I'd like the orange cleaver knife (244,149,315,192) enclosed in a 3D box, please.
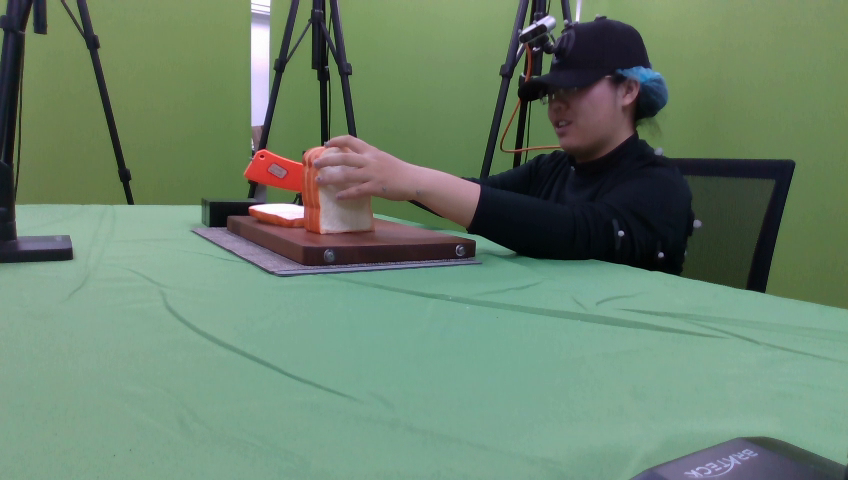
[{"bbox_3d":[-0.238,-0.127,1.176,0.212,0.077,0.012,8,33,-26],"label":"orange cleaver knife"}]

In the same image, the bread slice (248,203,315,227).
[{"bbox_3d":[-0.228,-0.043,1.022,0.131,0.019,0.105,14,14,37],"label":"bread slice"}]

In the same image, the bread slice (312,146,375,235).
[{"bbox_3d":[-0.127,-0.075,0.920,0.018,0.134,0.107,-3,4,45],"label":"bread slice"}]
